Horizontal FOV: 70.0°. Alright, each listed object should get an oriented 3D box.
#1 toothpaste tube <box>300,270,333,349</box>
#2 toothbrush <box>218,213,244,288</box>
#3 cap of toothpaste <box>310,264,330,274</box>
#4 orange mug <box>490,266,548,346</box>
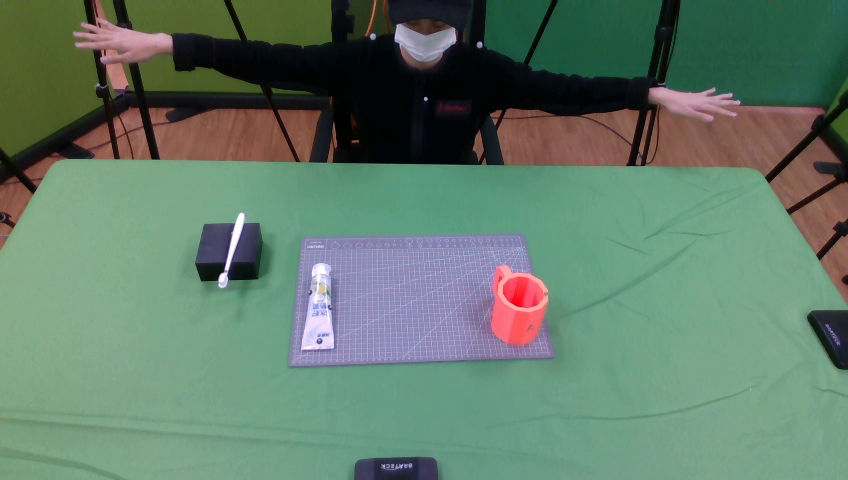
[{"bbox_3d":[-0.187,0.118,1.062,0.055,0.035,0.164,-6,50,-1],"label":"toothpaste tube"},{"bbox_3d":[-0.347,0.013,1.093,0.014,0.017,0.180,-2,46,1],"label":"toothbrush"},{"bbox_3d":[-0.191,0.057,1.111,0.037,0.037,0.011,-2,50,-6],"label":"cap of toothpaste"},{"bbox_3d":[0.155,0.107,1.051,0.083,0.101,0.125,-15,53,-18],"label":"orange mug"}]
